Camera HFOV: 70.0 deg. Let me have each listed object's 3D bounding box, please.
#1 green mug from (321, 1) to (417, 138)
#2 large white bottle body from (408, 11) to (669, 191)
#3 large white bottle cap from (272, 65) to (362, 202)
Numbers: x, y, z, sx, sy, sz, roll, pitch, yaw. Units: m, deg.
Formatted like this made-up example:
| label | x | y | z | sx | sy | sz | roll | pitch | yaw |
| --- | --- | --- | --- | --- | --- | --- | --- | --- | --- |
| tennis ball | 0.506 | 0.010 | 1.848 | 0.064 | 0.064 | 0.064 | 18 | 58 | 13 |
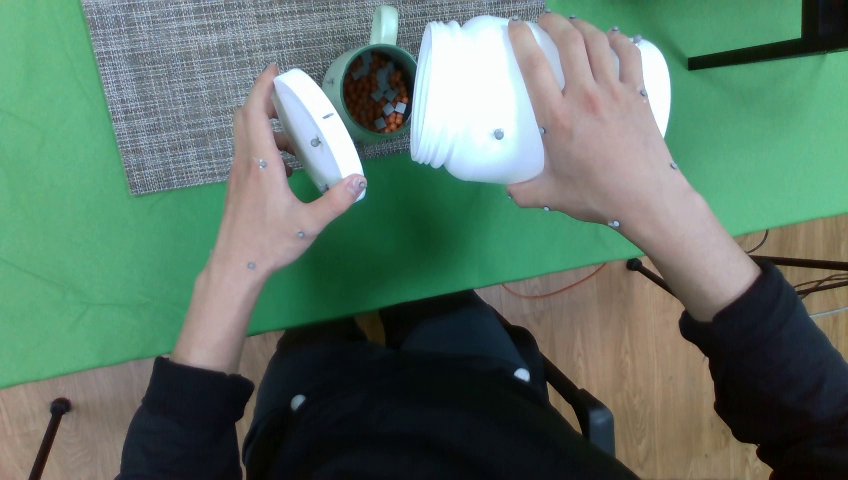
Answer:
| label | x | y | z | sx | sy | sz | roll | pitch | yaw |
| --- | --- | --- | --- | --- | --- | --- | --- | --- | --- |
| green mug | -0.046 | -0.160 | 0.573 | 0.093 | 0.104 | 0.125 | 6 | 99 | -16 |
| large white bottle body | 0.085 | -0.112 | 0.496 | 0.185 | 0.130 | 0.131 | 5 | 99 | -8 |
| large white bottle cap | -0.087 | -0.084 | 0.490 | 0.018 | 0.114 | 0.115 | -32 | 107 | -18 |
